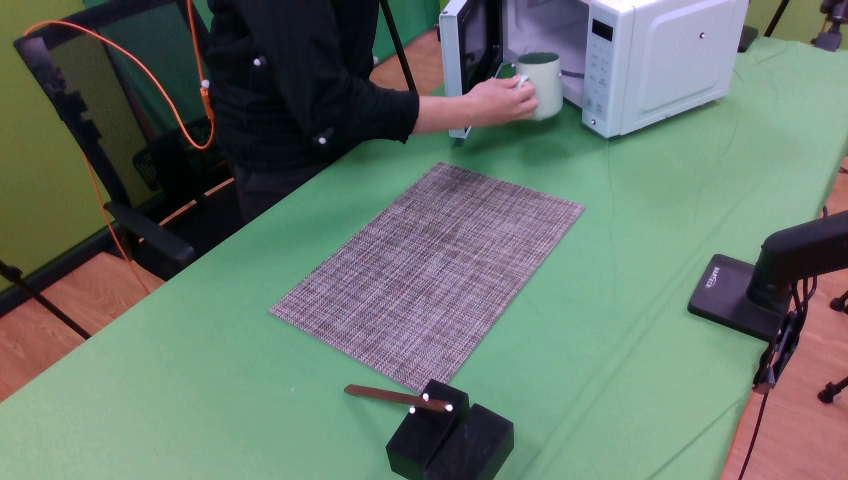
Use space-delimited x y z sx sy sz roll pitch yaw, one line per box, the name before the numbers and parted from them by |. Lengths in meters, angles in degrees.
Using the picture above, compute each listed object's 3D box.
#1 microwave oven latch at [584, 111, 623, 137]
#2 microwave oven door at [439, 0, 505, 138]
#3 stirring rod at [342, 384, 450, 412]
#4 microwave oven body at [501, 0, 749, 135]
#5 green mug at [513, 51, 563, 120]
microwave oven latch | 0.337 -0.222 1.142 0.030 0.029 0.078 -21 42 -14
microwave oven door | 0.107 -0.406 1.231 0.039 0.245 0.355 7 43 17
stirring rod | -0.038 0.186 0.714 0.175 0.006 0.014 -3 22 43
microwave oven body | 0.382 -0.444 1.246 0.327 0.261 0.437 -22 42 -16
green mug | 0.201 -0.277 1.109 0.092 0.105 0.126 19 41 33
